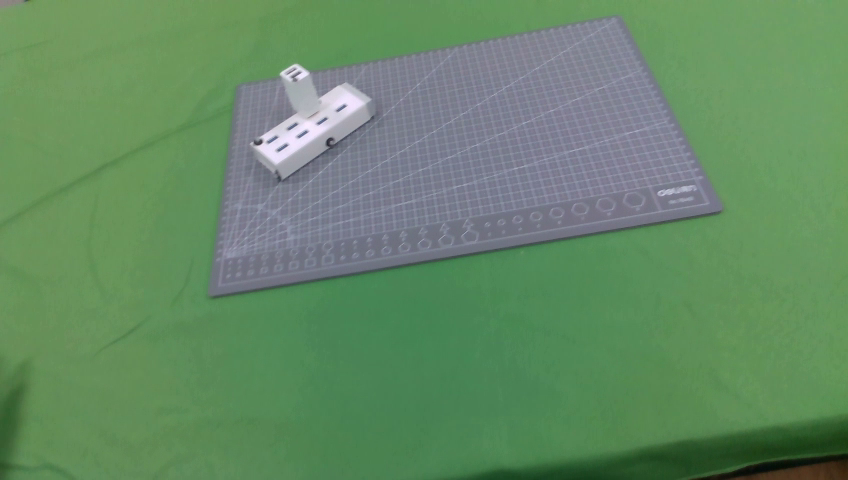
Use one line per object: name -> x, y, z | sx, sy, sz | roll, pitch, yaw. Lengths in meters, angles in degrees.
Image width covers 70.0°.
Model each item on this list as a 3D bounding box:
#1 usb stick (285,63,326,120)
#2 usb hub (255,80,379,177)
usb stick -> -0.118, -0.147, 0.616 | 0.021, 0.060, 0.027 | -41, 55, -19
usb hub -> -0.110, -0.118, 0.629 | 0.125, 0.025, 0.049 | -38, 56, -19
